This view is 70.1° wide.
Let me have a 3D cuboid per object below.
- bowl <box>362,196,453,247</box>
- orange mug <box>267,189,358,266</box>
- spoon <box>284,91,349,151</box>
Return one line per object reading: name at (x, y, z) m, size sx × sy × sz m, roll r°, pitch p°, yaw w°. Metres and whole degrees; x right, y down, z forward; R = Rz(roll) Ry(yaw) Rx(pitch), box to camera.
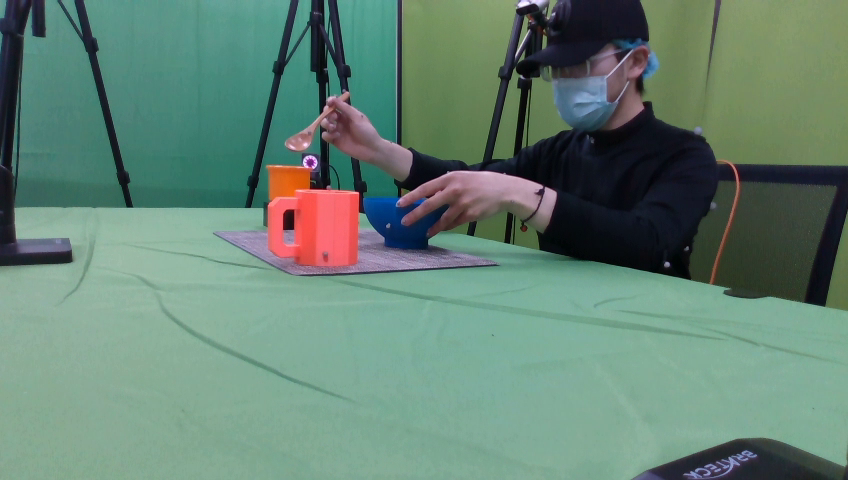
bowl at (-0.029, -0.031, 1.007) m, size 0.151 × 0.077 × 0.151 m, roll 2°, pitch 7°, yaw 0°
orange mug at (-0.145, -0.019, 0.797) m, size 0.127 × 0.100 × 0.083 m, roll 2°, pitch 6°, yaw -37°
spoon at (-0.197, -0.228, 1.147) m, size 0.041 × 0.194 × 0.021 m, roll 30°, pitch -31°, yaw 9°
